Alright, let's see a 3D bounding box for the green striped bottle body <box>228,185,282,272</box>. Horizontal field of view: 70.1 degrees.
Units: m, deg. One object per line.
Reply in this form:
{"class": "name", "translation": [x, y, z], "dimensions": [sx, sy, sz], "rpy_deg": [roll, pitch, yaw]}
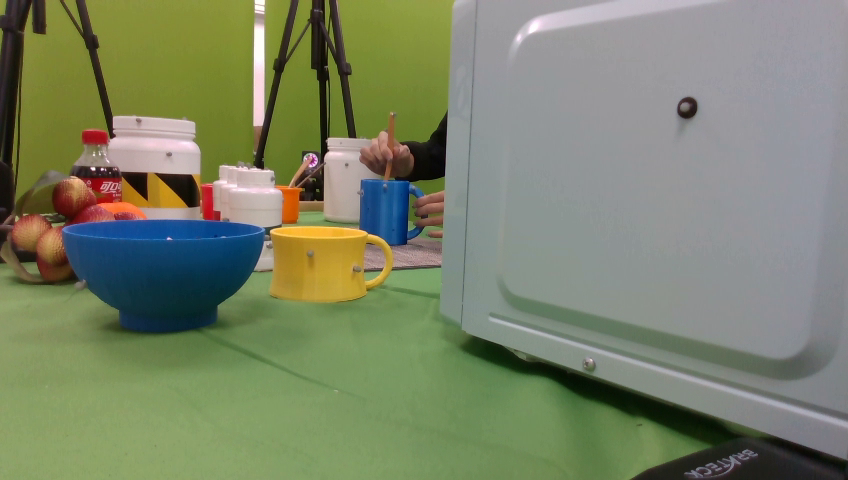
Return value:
{"class": "green striped bottle body", "translation": [-0.208, -0.023, 0.745], "dimensions": [0.063, 0.119, 0.063], "rpy_deg": [2, 7, 0]}

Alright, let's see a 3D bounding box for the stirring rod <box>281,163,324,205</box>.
{"class": "stirring rod", "translation": [-0.278, -0.105, 1.293], "dimensions": [0.176, 0.006, 0.014], "rpy_deg": [-47, 24, -18]}

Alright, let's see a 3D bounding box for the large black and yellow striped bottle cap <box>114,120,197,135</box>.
{"class": "large black and yellow striped bottle cap", "translation": [-0.407, -0.171, 0.920], "dimensions": [0.115, 0.019, 0.115], "rpy_deg": [2, 9, 0]}

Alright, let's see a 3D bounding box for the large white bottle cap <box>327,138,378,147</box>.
{"class": "large white bottle cap", "translation": [-0.160, -0.218, 1.357], "dimensions": [0.115, 0.018, 0.115], "rpy_deg": [2, 8, 0]}

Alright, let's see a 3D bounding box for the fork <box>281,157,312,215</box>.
{"class": "fork", "translation": [-0.290, -0.116, 1.321], "dimensions": [0.028, 0.019, 0.207], "rpy_deg": [7, 51, 18]}

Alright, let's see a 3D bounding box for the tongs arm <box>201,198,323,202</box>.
{"class": "tongs arm", "translation": [-0.432, -0.090, 1.507], "dimensions": [0.390, 0.028, 0.028], "rpy_deg": [-1, 2, -30]}

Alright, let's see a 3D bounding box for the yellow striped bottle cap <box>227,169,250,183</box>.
{"class": "yellow striped bottle cap", "translation": [-0.243, -0.086, 0.818], "dimensions": [0.044, 0.018, 0.044], "rpy_deg": [3, 6, 0]}

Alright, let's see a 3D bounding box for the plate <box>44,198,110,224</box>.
{"class": "plate", "translation": [-0.617, -0.056, 1.179], "dimensions": [0.209, 0.038, 0.209], "rpy_deg": [3, 7, 0]}

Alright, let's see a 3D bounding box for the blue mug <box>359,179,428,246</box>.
{"class": "blue mug", "translation": [-0.051, -0.047, 1.008], "dimensions": [0.116, 0.106, 0.082], "rpy_deg": [3, 7, 5]}

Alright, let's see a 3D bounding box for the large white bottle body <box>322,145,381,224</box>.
{"class": "large white bottle body", "translation": [-0.163, -0.134, 1.369], "dimensions": [0.131, 0.184, 0.130], "rpy_deg": [2, 8, 0]}

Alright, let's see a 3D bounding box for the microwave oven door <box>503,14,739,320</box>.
{"class": "microwave oven door", "translation": [0.218, -0.065, 0.600], "dimensions": [0.358, 0.243, 0.039], "rpy_deg": [-4, 10, -41]}

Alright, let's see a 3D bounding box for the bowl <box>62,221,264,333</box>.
{"class": "bowl", "translation": [-0.209, 0.029, 0.496], "dimensions": [0.151, 0.077, 0.151], "rpy_deg": [2, 7, 0]}

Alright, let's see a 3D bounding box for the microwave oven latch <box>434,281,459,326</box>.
{"class": "microwave oven latch", "translation": [0.044, 0.045, 0.470], "dimensions": [0.079, 0.029, 0.030], "rpy_deg": [-3, 8, -40]}

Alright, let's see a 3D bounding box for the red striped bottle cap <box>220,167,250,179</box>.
{"class": "red striped bottle cap", "translation": [-0.281, -0.100, 0.901], "dimensions": [0.044, 0.017, 0.044], "rpy_deg": [0, 5, 0]}

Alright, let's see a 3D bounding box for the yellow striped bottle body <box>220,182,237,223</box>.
{"class": "yellow striped bottle body", "translation": [-0.246, -0.036, 0.825], "dimensions": [0.063, 0.120, 0.063], "rpy_deg": [3, 8, 0]}

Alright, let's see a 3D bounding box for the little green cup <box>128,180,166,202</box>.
{"class": "little green cup", "translation": [-0.485, -0.087, 1.062], "dimensions": [0.061, 0.038, 0.061], "rpy_deg": [0, 7, 0]}

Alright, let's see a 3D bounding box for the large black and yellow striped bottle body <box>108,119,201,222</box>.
{"class": "large black and yellow striped bottle body", "translation": [-0.412, -0.088, 0.930], "dimensions": [0.131, 0.184, 0.130], "rpy_deg": [3, 7, 0]}

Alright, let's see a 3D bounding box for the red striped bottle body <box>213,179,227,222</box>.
{"class": "red striped bottle body", "translation": [-0.284, -0.048, 0.909], "dimensions": [0.063, 0.119, 0.063], "rpy_deg": [3, 10, 0]}

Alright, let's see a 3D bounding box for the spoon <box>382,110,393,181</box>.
{"class": "spoon", "translation": [-0.065, -0.121, 1.017], "dimensions": [0.022, 0.193, 0.041], "rpy_deg": [9, -1, -22]}

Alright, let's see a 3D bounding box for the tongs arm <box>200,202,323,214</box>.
{"class": "tongs arm", "translation": [-0.378, -0.079, 1.440], "dimensions": [0.387, 0.026, 0.050], "rpy_deg": [-4, 8, -44]}

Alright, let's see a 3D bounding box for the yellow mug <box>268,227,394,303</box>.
{"class": "yellow mug", "translation": [-0.094, 0.023, 0.629], "dimensions": [0.131, 0.064, 0.099], "rpy_deg": [0, 6, -22]}

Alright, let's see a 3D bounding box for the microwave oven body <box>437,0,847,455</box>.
{"class": "microwave oven body", "translation": [0.279, -0.040, 0.464], "dimensions": [0.444, 0.260, 0.324], "rpy_deg": [-3, 9, -41]}

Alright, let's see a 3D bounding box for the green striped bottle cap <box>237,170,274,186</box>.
{"class": "green striped bottle cap", "translation": [-0.205, -0.075, 0.737], "dimensions": [0.044, 0.020, 0.044], "rpy_deg": [2, 6, 0]}
